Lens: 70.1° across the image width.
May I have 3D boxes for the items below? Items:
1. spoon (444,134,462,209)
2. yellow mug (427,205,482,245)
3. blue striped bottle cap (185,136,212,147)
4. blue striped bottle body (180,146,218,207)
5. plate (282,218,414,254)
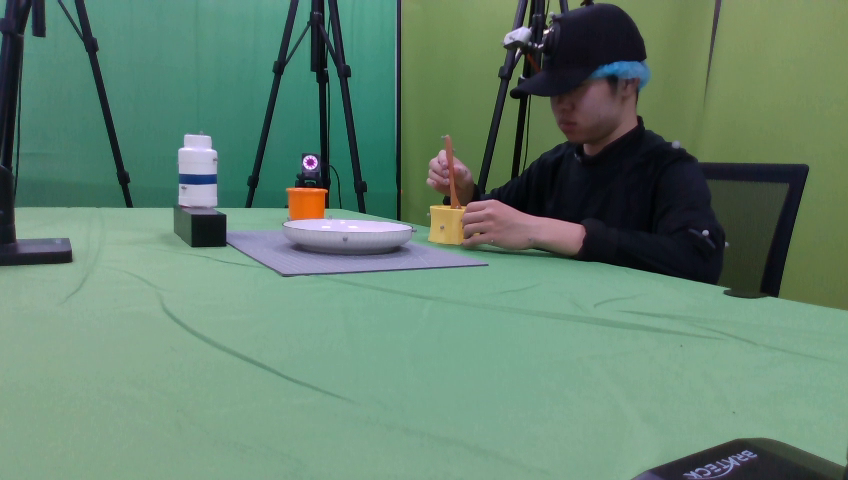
[{"bbox_3d":[0.055,-0.102,1.140,0.041,0.193,0.022,-4,9,24],"label":"spoon"},{"bbox_3d":[0.062,-0.028,1.112,0.100,0.064,0.130,0,8,-20],"label":"yellow mug"},{"bbox_3d":[-0.390,-0.169,1.047,0.044,0.020,0.044,4,10,0],"label":"blue striped bottle cap"},{"bbox_3d":[-0.392,-0.118,1.053,0.063,0.120,0.063,2,8,0],"label":"blue striped bottle body"},{"bbox_3d":[-0.121,-0.007,0.971,0.208,0.039,0.207,2,7,0],"label":"plate"}]
